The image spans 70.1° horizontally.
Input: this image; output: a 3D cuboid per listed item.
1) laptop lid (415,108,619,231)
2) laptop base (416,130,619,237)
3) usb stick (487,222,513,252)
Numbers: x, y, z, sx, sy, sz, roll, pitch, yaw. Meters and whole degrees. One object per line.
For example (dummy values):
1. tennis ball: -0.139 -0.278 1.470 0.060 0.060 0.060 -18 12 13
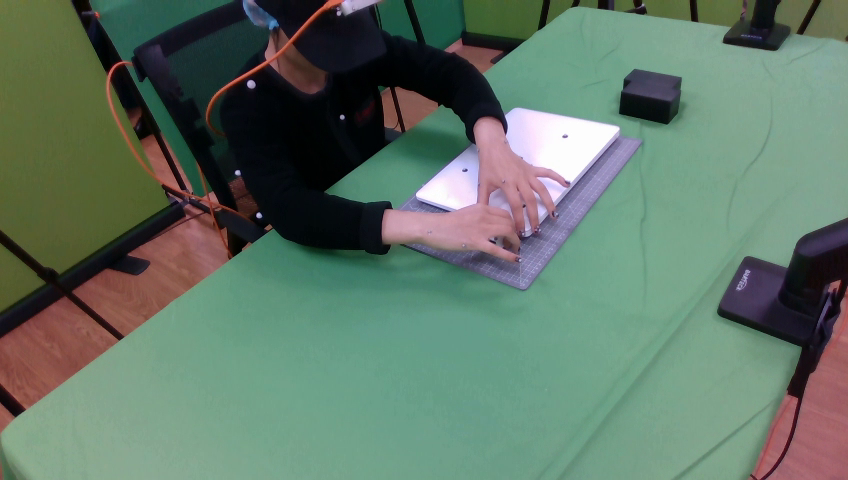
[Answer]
1. laptop lid: 0.175 -0.146 1.105 0.239 0.013 0.357 21 49 34
2. laptop base: 0.179 -0.137 1.111 0.233 0.023 0.355 19 47 34
3. usb stick: 0.124 -0.009 0.953 0.021 0.027 0.059 18 46 33
